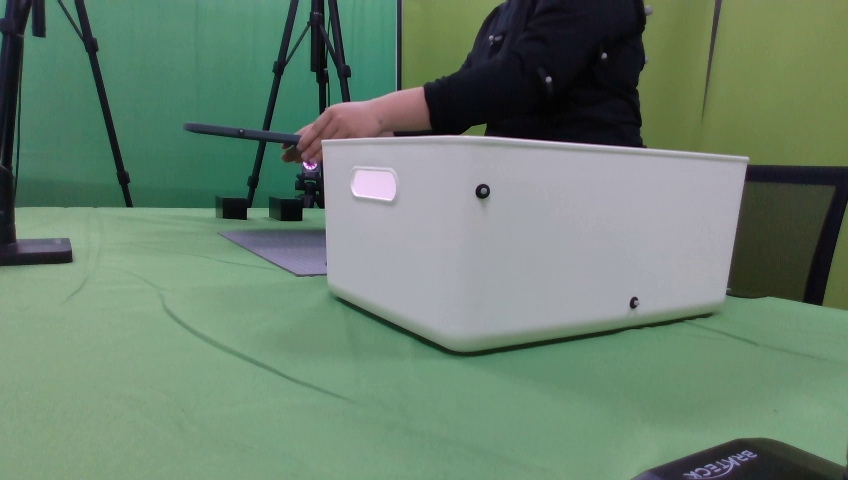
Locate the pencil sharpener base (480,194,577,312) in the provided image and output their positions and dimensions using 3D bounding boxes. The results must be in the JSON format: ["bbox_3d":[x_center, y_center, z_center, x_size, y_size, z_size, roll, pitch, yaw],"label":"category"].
[{"bbox_3d":[0.103,0.011,0.591,0.077,0.107,0.061,-1,7,-33],"label":"pencil sharpener base"}]

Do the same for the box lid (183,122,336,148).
[{"bbox_3d":[-0.239,-0.183,1.115,0.373,0.015,0.262,4,6,-17],"label":"box lid"}]

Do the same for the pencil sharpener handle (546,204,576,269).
[{"bbox_3d":[0.145,-0.003,0.619,0.031,0.067,0.036,-1,16,-33],"label":"pencil sharpener handle"}]

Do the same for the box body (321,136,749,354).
[{"bbox_3d":[0.105,-0.012,0.603,0.366,0.160,0.253,-2,8,-33],"label":"box body"}]
